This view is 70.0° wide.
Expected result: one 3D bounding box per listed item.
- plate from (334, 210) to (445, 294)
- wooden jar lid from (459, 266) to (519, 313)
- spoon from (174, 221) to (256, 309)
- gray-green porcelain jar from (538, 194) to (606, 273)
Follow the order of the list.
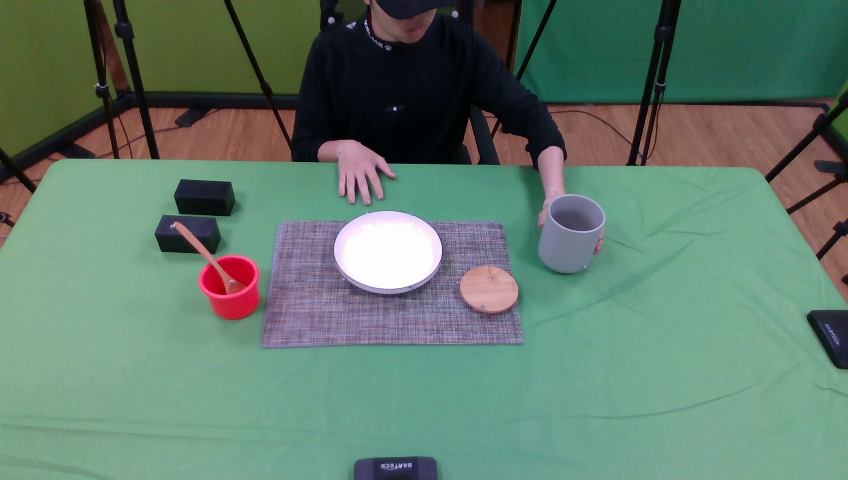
[{"bbox_3d":[-0.066,0.026,1.150,0.208,0.039,0.206,2,46,-2],"label":"plate"},{"bbox_3d":[0.118,0.093,1.111,0.108,0.021,0.107,2,47,-1],"label":"wooden jar lid"},{"bbox_3d":[-0.360,0.043,1.043,0.194,0.021,0.041,54,52,-14],"label":"spoon"},{"bbox_3d":[0.277,-0.008,1.151,0.106,0.127,0.105,2,46,-2],"label":"gray-green porcelain jar"}]
